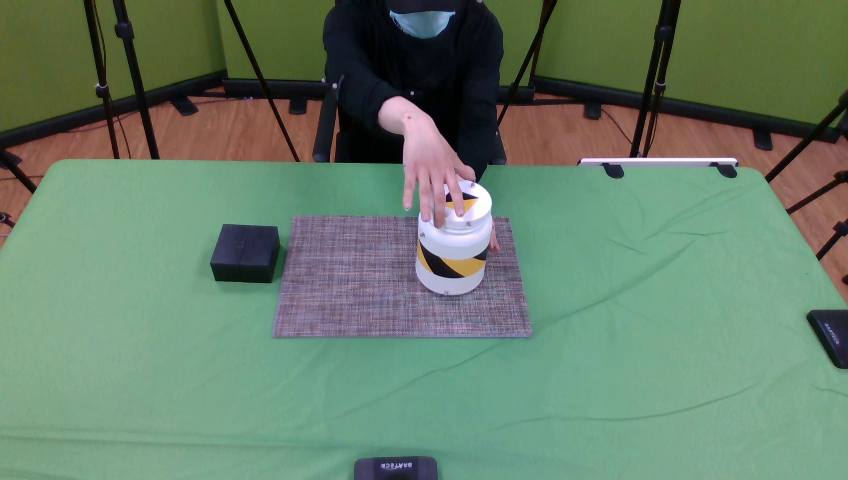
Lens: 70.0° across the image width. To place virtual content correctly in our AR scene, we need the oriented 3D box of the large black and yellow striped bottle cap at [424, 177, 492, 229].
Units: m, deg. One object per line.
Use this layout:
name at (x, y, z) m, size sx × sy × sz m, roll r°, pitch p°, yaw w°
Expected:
large black and yellow striped bottle cap at (0.058, -0.064, 1.022) m, size 0.115 × 0.019 × 0.114 m, roll 2°, pitch 45°, yaw -2°

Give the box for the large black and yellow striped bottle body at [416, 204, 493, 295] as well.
large black and yellow striped bottle body at (0.053, -0.004, 1.085) m, size 0.131 × 0.185 × 0.130 m, roll 2°, pitch 46°, yaw -2°
